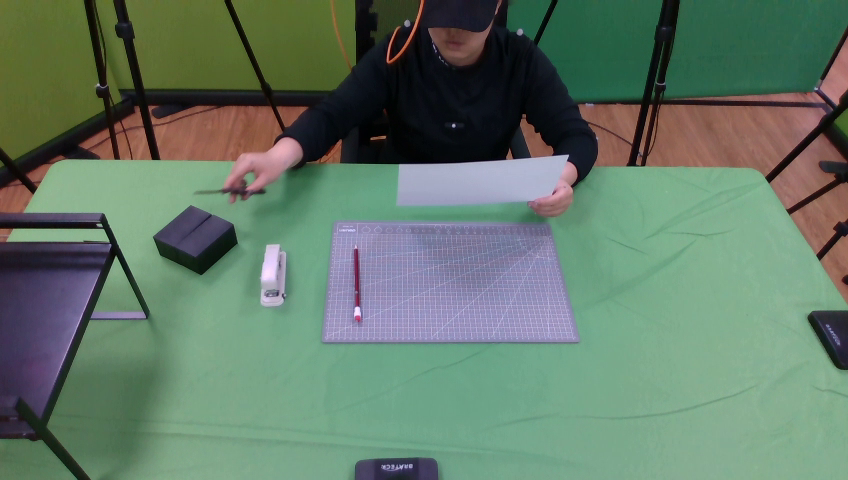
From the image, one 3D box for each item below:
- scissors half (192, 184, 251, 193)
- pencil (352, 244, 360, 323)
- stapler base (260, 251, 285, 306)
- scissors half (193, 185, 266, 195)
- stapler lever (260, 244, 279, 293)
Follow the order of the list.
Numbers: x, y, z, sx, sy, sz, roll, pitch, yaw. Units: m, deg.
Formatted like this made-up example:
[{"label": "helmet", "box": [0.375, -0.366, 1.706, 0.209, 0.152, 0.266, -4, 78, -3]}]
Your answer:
[{"label": "scissors half", "box": [-0.373, -0.093, 1.125, 0.040, 0.013, 0.175, 8, 11, 14]}, {"label": "pencil", "box": [-0.127, 0.075, 1.119, 0.012, 0.012, 0.192, -3, 44, -7]}, {"label": "stapler base", "box": [-0.279, 0.064, 1.113, 0.041, 0.024, 0.129, -1, 44, -9]}, {"label": "scissors half", "box": [-0.355, -0.089, 1.118, 0.040, 0.013, 0.175, 17, 14, 28]}, {"label": "stapler lever", "box": [-0.278, 0.045, 1.096, 0.027, 0.040, 0.117, -1, 44, -9]}]
